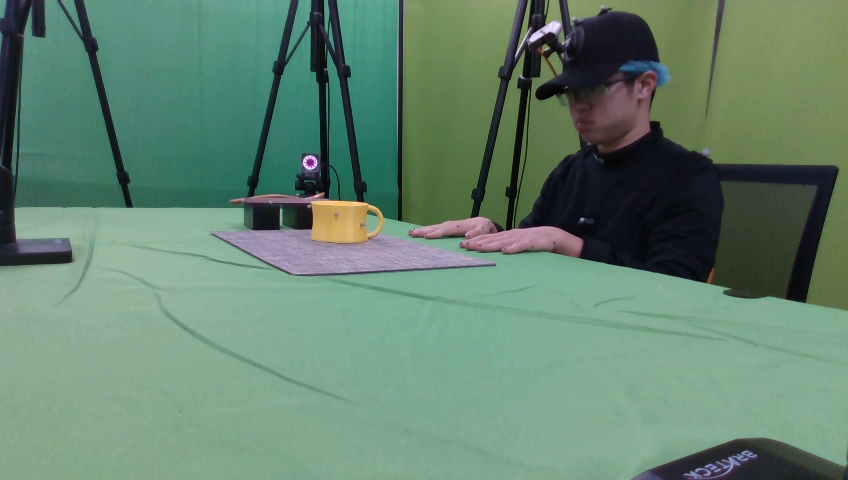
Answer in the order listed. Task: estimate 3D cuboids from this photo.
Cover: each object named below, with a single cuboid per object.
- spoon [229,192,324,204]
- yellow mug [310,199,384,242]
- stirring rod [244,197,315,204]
[{"bbox_3d":[-0.297,-0.086,1.231,0.195,0.021,0.041,-3,7,-27],"label":"spoon"},{"bbox_3d":[-0.132,-0.035,1.054,0.131,0.064,0.099,0,8,-23],"label":"yellow mug"},{"bbox_3d":[-0.269,-0.077,1.200,0.177,0.006,0.014,-1,41,-35],"label":"stirring rod"}]
